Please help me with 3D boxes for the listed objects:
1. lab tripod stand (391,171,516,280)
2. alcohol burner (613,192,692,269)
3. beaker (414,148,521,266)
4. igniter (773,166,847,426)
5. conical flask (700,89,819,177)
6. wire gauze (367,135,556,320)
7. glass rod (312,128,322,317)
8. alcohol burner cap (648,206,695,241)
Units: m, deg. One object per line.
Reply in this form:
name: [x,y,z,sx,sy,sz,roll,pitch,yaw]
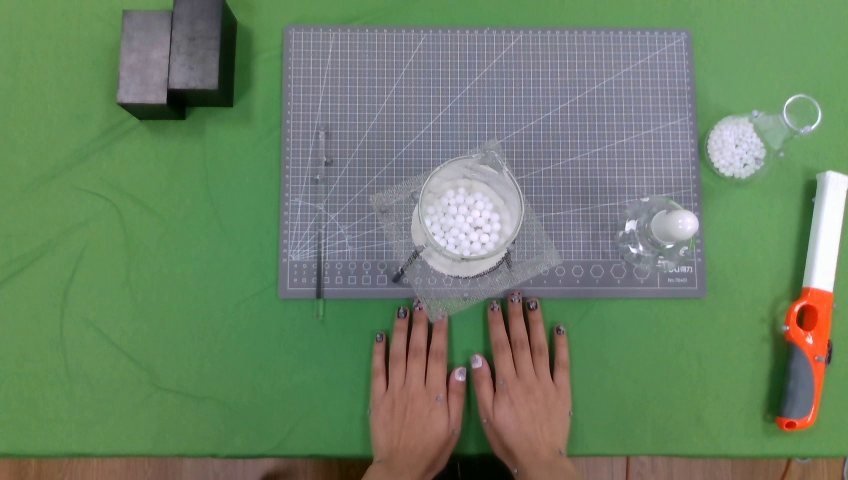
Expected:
lab tripod stand: [0.030,-0.003,0.576,0.148,0.131,0.148,0,85,-1]
alcohol burner: [0.229,-0.012,0.592,0.078,0.119,0.077,0,82,1]
beaker: [0.030,-0.020,0.463,0.074,0.100,0.084,22,83,1]
igniter: [0.406,0.058,0.635,0.057,0.025,0.276,14,83,-10]
conical flask: [0.337,-0.111,0.604,0.075,0.122,0.075,0,83,-1]
wire gauze: [0.032,-0.011,0.511,0.125,0.011,0.121,-25,87,-6]
glass rod: [-0.112,-0.019,0.636,0.008,0.008,0.199,1,86,-2]
alcohol burner cap: [0.230,-0.017,0.556,0.034,0.048,0.034,0,88,-2]
